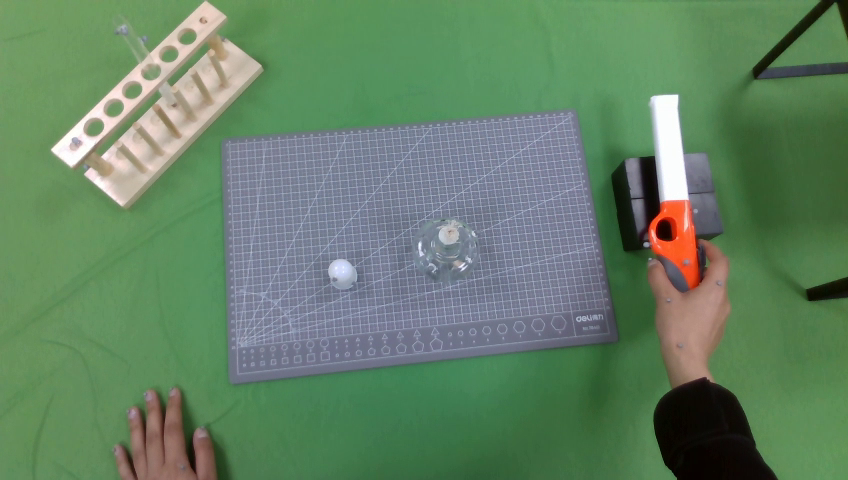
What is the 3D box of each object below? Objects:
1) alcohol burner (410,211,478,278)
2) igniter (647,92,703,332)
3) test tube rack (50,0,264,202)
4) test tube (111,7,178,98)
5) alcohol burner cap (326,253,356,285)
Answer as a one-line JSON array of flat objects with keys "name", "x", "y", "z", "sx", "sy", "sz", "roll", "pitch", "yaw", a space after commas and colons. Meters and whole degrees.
[{"name": "alcohol burner", "x": 0.024, "y": 0.001, "z": 0.672, "sx": 0.078, "sy": 0.119, "sz": 0.077, "roll": 1, "pitch": 74, "yaw": -3}, {"name": "igniter", "x": 0.277, "y": -0.035, "z": 0.679, "sx": 0.057, "sy": 0.025, "sz": 0.275, "roll": -1, "pitch": 78, "yaw": 5}, {"name": "test tube rack", "x": -0.305, "y": -0.165, "z": 0.715, "sx": 0.066, "sy": 0.085, "sz": 0.242, "roll": 38, "pitch": 78, "yaw": 7}, {"name": "test tube", "x": -0.306, "y": -0.203, "z": 0.674, "sx": 0.017, "sy": 0.151, "sz": 0.017, "roll": 1, "pitch": 71, "yaw": -1}, {"name": "alcohol burner cap", "x": -0.096, "y": 0.032, "z": 0.697, "sx": 0.034, "sy": 0.048, "sz": 0.033, "roll": 0, "pitch": 76, "yaw": 0}]
